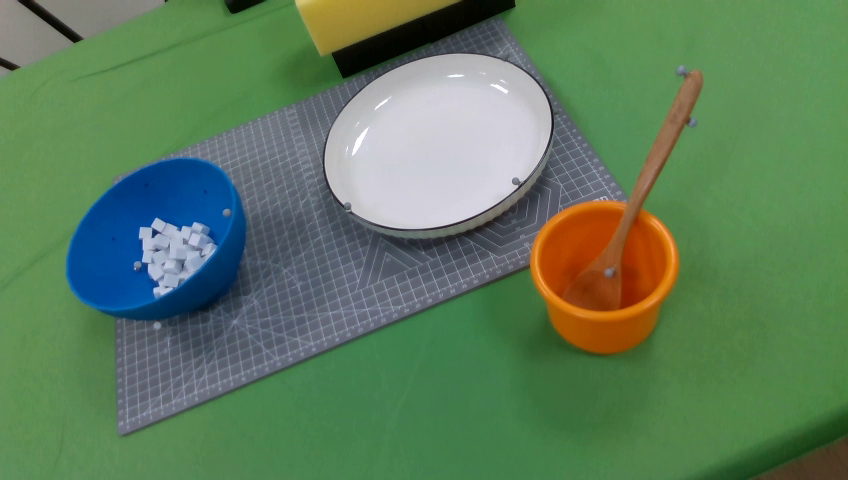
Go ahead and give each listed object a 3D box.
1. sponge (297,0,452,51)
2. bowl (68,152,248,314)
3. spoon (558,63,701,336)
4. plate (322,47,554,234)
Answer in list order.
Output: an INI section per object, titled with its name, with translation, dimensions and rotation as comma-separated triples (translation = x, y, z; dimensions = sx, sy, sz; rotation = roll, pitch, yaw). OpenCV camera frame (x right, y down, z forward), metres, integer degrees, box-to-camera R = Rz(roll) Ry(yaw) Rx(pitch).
[sponge]
translation = -0.030, -0.284, 0.613
dimensions = 0.207, 0.061, 0.117
rotation = -21, 55, 1
[bowl]
translation = -0.211, 0.006, 0.522
dimensions = 0.151, 0.077, 0.150
rotation = -8, 56, 12
[spoon]
translation = 0.138, -0.021, 0.402
dimensions = 0.041, 0.194, 0.022
rotation = 32, 27, 30
[plate]
translation = 0.012, -0.089, 0.546
dimensions = 0.209, 0.038, 0.207
rotation = -7, 57, 11
